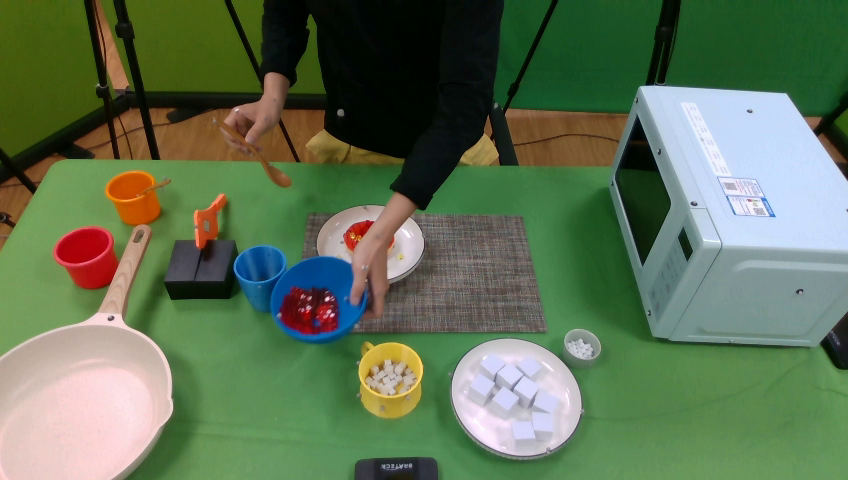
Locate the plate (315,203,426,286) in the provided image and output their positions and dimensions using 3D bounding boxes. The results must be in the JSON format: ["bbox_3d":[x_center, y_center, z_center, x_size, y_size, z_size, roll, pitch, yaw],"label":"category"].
[{"bbox_3d":[-0.101,0.012,1.160,0.209,0.038,0.208,2,46,-2],"label":"plate"}]

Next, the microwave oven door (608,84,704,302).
[{"bbox_3d":[0.424,-0.096,1.138,0.039,0.245,0.353,2,47,-1],"label":"microwave oven door"}]

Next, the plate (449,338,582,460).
[{"bbox_3d":[0.141,0.251,0.955,0.208,0.039,0.206,2,46,-2],"label":"plate"}]

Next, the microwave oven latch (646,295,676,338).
[{"bbox_3d":[0.413,0.133,1.060,0.030,0.029,0.078,4,46,1],"label":"microwave oven latch"}]

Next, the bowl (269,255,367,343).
[{"bbox_3d":[-0.162,0.107,0.970,0.151,0.077,0.150,-1,55,2],"label":"bowl"}]

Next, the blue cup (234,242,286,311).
[{"bbox_3d":[-0.276,0.071,1.052,0.093,0.101,0.092,1,48,-1],"label":"blue cup"}]

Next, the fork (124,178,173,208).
[{"bbox_3d":[-0.525,-0.090,1.153,0.207,0.019,0.028,-17,27,45],"label":"fork"}]

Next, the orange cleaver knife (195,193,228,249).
[{"bbox_3d":[-0.406,-0.041,1.163,0.012,0.077,0.210,0,18,-3],"label":"orange cleaver knife"}]

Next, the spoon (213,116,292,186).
[{"bbox_3d":[-0.317,-0.166,1.132,0.021,0.195,0.041,-20,45,22],"label":"spoon"}]

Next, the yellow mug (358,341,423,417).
[{"bbox_3d":[-0.062,0.210,0.961,0.100,0.064,0.130,-29,54,-27],"label":"yellow mug"}]

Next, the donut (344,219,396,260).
[{"bbox_3d":[-0.103,-0.002,1.157,0.099,0.048,0.098,2,43,-2],"label":"donut"}]

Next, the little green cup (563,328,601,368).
[{"bbox_3d":[0.266,0.184,1.025,0.061,0.039,0.061,1,46,0],"label":"little green cup"}]

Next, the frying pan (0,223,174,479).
[{"bbox_3d":[-0.504,0.169,0.941,0.307,0.103,0.485,5,54,-1],"label":"frying pan"}]

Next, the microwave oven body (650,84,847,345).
[{"bbox_3d":[0.569,-0.054,1.116,0.326,0.261,0.439,2,46,-1],"label":"microwave oven body"}]
